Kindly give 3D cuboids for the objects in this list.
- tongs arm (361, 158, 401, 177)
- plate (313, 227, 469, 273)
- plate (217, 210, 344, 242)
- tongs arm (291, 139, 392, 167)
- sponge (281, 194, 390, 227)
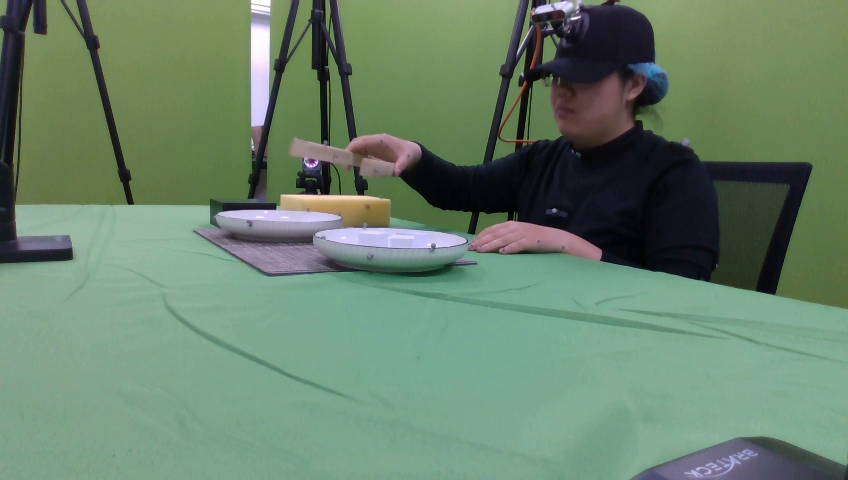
[{"bbox_3d":[-0.069,-0.121,1.016,0.028,0.028,0.387,11,7,3],"label":"tongs arm"},{"bbox_3d":[-0.044,0.012,0.807,0.209,0.038,0.209,2,7,0],"label":"plate"},{"bbox_3d":[-0.241,-0.024,1.026,0.208,0.039,0.207,3,7,0],"label":"plate"},{"bbox_3d":[-0.125,-0.137,1.023,0.051,0.026,0.385,15,7,9],"label":"tongs arm"},{"bbox_3d":[-0.188,-0.063,1.291,0.208,0.061,0.117,-2,9,-35],"label":"sponge"}]
